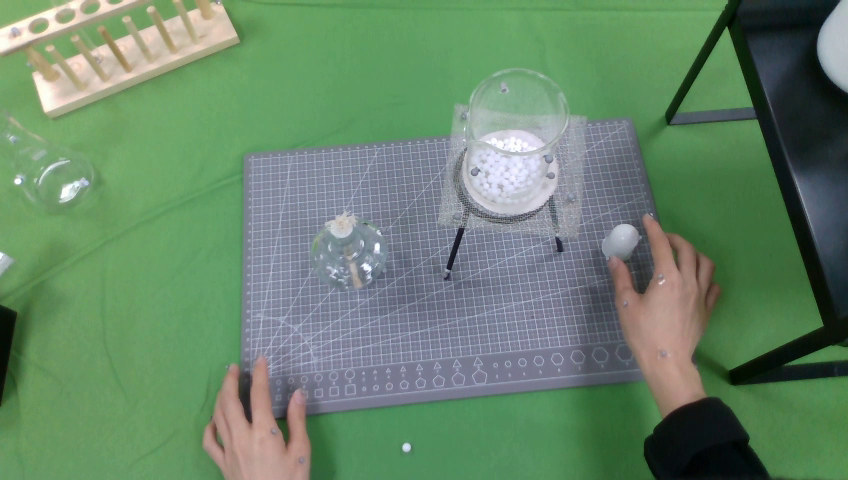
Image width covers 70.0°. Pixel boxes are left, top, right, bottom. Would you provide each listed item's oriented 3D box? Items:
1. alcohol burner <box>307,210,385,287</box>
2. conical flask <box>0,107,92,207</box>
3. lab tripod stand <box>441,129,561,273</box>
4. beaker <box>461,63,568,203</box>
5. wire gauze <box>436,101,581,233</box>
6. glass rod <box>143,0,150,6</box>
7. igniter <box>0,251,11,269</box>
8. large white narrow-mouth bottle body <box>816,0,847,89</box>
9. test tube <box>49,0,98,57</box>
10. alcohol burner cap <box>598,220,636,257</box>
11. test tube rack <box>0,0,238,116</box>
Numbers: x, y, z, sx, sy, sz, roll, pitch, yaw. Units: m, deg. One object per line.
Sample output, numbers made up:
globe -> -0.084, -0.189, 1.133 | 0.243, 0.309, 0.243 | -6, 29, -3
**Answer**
alcohol burner -> -0.078, 0.002, 0.593 | 0.078, 0.120, 0.077 | 0, 66, 0
conical flask -> -0.415, -0.091, 0.634 | 0.075, 0.123, 0.075 | 0, 68, 2
lab tripod stand -> 0.073, -0.036, 0.594 | 0.148, 0.132, 0.147 | 0, 67, 0
beaker -> 0.066, -0.079, 0.488 | 0.084, 0.101, 0.073 | -28, 71, -9
wire gauze -> 0.078, -0.066, 0.535 | 0.121, 0.011, 0.124 | 8, 67, 2
glass rod -> -0.331, -0.306, 0.665 | 0.008, 0.201, 0.008 | -2, 60, 3
igniter -> -0.484, 0.123, 0.552 | 0.057, 0.025, 0.275 | 21, 69, 19
large white narrow-mouth bottle body -> 0.376, -0.192, 0.426 | 0.102, 0.196, 0.101 | -1, 68, 3
test tube -> -0.400, -0.259, 0.666 | 0.017, 0.151, 0.017 | 0, 62, 1
alcohol burner cap -> 0.202, -0.004, 0.629 | 0.034, 0.048, 0.033 | 0, 72, 0
test tube rack -> -0.356, -0.242, 0.712 | 0.242, 0.086, 0.066 | -26, 70, -9
